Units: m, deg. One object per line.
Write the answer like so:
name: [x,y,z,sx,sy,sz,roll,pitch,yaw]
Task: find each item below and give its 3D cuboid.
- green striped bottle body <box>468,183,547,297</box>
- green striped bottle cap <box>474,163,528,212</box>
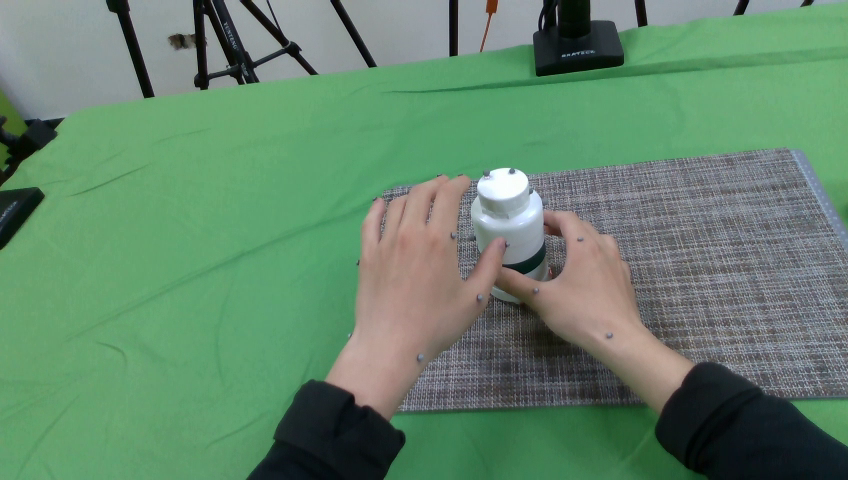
green striped bottle body: [0.076,-0.008,0.546,0.063,0.120,0.062,-8,44,8]
green striped bottle cap: [0.065,-0.044,0.510,0.044,0.020,0.044,-9,45,9]
